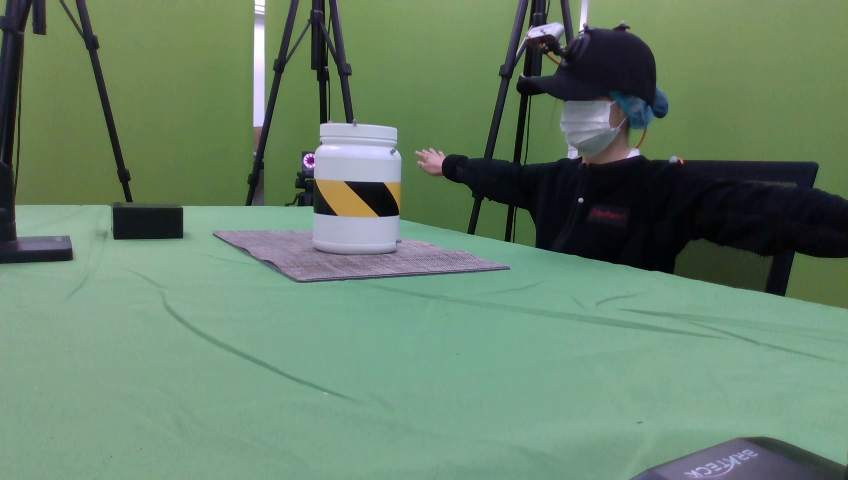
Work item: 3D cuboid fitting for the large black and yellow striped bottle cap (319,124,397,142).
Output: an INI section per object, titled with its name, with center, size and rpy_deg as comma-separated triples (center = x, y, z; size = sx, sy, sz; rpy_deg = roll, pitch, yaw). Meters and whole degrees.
[large black and yellow striped bottle cap]
center = -0.098, -0.158, 0.895
size = 0.115, 0.019, 0.115
rpy_deg = 5, 7, 0

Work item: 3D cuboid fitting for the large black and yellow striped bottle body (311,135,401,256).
[large black and yellow striped bottle body]
center = -0.101, -0.075, 0.904
size = 0.131, 0.184, 0.130
rpy_deg = 3, 7, 0
